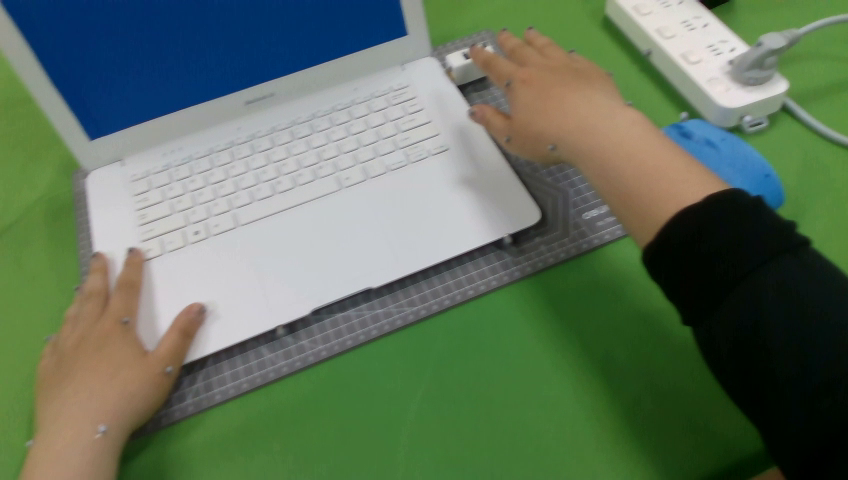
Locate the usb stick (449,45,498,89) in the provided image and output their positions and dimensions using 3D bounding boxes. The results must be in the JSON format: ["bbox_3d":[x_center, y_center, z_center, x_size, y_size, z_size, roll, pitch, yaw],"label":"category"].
[{"bbox_3d":[0.042,-0.167,0.593,0.059,0.027,0.021,-22,54,-4],"label":"usb stick"}]

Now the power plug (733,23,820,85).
[{"bbox_3d":[0.308,-0.154,0.528,0.072,0.053,0.035,-10,56,0],"label":"power plug"}]

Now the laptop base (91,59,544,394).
[{"bbox_3d":[-0.104,-0.032,0.530,0.354,0.023,0.233,-22,58,-9],"label":"laptop base"}]

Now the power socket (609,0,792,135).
[{"bbox_3d":[0.258,-0.187,0.586,0.072,0.033,0.224,-19,54,-6],"label":"power socket"}]

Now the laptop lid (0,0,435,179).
[{"bbox_3d":[-0.172,-0.203,0.519,0.357,0.244,0.013,-23,42,-7],"label":"laptop lid"}]

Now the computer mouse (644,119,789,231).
[{"bbox_3d":[0.235,-0.060,0.492,0.063,0.041,0.116,-22,49,-7],"label":"computer mouse"}]
